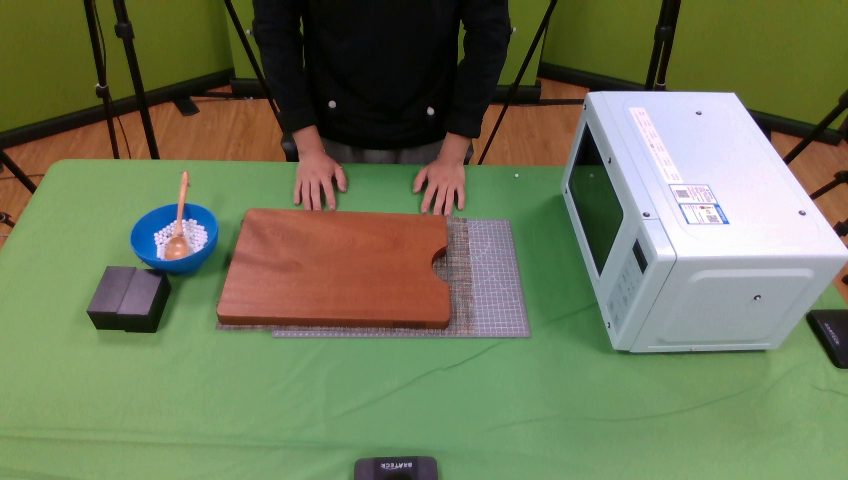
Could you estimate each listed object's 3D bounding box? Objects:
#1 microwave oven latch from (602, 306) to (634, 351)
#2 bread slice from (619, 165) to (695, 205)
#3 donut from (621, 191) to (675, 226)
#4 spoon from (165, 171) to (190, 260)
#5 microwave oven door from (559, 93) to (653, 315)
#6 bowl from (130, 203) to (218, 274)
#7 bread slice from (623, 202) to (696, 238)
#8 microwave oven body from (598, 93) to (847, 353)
[{"bbox_3d":[0.332,0.153,1.044,0.030,0.029,0.078,0,45,-4],"label":"microwave oven latch"},{"bbox_3d":[0.444,-0.103,1.149,0.135,0.018,0.106,1,41,-23],"label":"bread slice"},{"bbox_3d":[0.434,-0.061,1.174,0.099,0.048,0.098,-7,27,4],"label":"donut"},{"bbox_3d":[-0.452,-0.046,1.129,0.041,0.022,0.193,-1,69,-2],"label":"spoon"},{"bbox_3d":[0.327,-0.074,1.123,0.039,0.245,0.353,-1,46,-5],"label":"microwave oven door"},{"bbox_3d":[-0.450,0.010,1.117,0.151,0.077,0.150,3,45,-3],"label":"bowl"},{"bbox_3d":[0.467,-0.041,1.200,0.131,0.019,0.104,-1,37,9],"label":"bread slice"},{"bbox_3d":[0.475,-0.041,1.110,0.326,0.261,0.438,-1,45,-4],"label":"microwave oven body"}]
